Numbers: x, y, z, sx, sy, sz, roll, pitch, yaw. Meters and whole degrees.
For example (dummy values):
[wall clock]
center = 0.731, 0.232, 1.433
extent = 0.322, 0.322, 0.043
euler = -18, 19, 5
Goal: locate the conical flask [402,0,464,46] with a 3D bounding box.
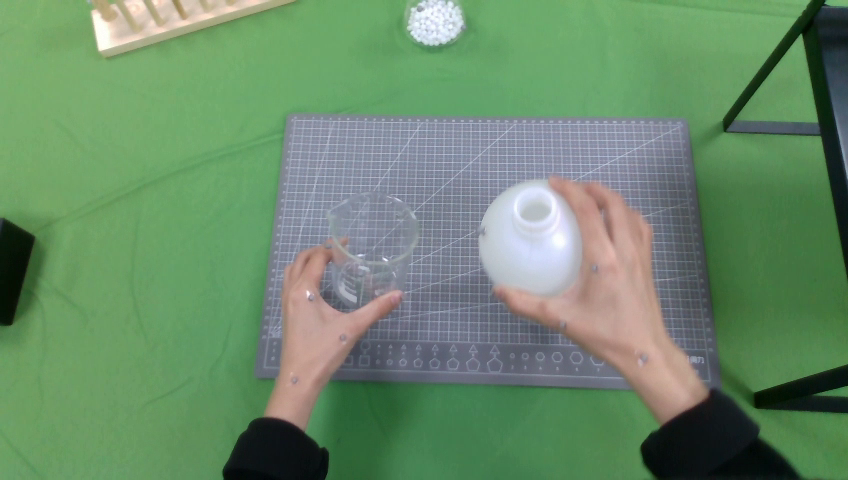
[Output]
[conical flask]
center = 0.009, -0.283, 0.678
extent = 0.075, 0.122, 0.075
euler = -1, 69, 2

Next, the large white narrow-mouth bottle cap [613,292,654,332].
[large white narrow-mouth bottle cap]
center = 0.206, 0.071, 0.593
extent = 0.038, 0.024, 0.037
euler = -1, 71, 3

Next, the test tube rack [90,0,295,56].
[test tube rack]
center = -0.285, -0.303, 0.714
extent = 0.242, 0.086, 0.066
euler = -19, 70, -5

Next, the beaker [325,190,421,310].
[beaker]
center = -0.051, 0.012, 0.546
extent = 0.084, 0.101, 0.073
euler = 21, 56, 4

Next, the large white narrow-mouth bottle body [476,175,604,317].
[large white narrow-mouth bottle body]
center = 0.096, 0.003, 0.498
extent = 0.101, 0.196, 0.101
euler = -4, 74, 15
